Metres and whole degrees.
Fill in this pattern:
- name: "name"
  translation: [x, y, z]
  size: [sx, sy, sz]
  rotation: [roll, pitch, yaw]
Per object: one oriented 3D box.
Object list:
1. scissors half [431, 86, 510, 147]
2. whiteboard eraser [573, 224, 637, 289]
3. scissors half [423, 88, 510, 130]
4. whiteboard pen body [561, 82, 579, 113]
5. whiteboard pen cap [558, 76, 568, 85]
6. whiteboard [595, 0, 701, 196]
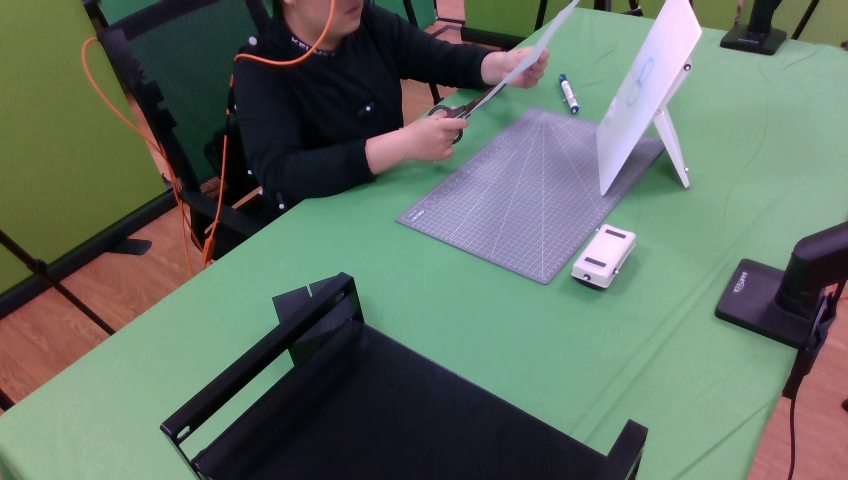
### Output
- name: "scissors half"
  translation: [0.085, -0.225, 1.101]
  size: [0.174, 0.040, 0.013]
  rotation: [-37, 7, 24]
- name: "whiteboard eraser"
  translation: [0.267, 0.025, 0.891]
  size: [0.055, 0.042, 0.113]
  rotation: [19, 47, 31]
- name: "scissors half"
  translation: [0.075, -0.243, 1.098]
  size: [0.174, 0.040, 0.013]
  rotation: [-17, 9, 21]
- name: "whiteboard pen body"
  translation: [0.311, -0.312, 1.297]
  size: [0.017, 0.017, 0.140]
  rotation: [-6, 41, 3]
- name: "whiteboard pen cap"
  translation: [0.310, -0.350, 1.341]
  size: [0.018, 0.018, 0.033]
  rotation: [-6, 40, 2]
- name: "whiteboard"
  translation: [0.421, -0.227, 1.010]
  size: [0.144, 0.305, 0.216]
  rotation: [18, 42, -2]
